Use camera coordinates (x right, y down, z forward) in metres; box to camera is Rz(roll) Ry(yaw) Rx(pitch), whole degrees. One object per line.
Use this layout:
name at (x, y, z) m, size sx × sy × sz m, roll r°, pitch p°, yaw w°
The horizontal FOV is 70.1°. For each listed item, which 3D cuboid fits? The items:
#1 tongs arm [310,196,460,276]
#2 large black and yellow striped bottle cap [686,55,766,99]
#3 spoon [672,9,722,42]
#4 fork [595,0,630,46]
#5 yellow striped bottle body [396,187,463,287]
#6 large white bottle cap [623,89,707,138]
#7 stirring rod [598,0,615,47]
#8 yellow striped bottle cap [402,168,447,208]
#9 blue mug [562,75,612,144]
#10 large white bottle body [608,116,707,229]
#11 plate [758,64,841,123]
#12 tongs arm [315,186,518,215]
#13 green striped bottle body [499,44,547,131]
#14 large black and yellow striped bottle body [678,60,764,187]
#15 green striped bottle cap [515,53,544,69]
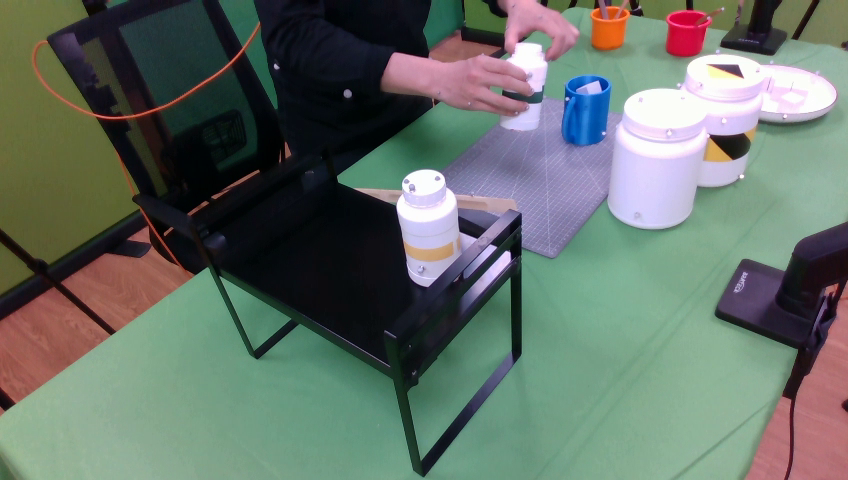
tongs arm at (-0.078, -0.012, 0.944) m, size 0.028 × 0.028 × 0.384 m, roll -43°, pitch 39°, yaw -23°
large black and yellow striped bottle cap at (0.474, -0.258, 0.952) m, size 0.115 × 0.019 × 0.114 m, roll -5°, pitch 41°, yaw 5°
spoon at (0.606, -0.476, 1.345) m, size 0.042 × 0.021 × 0.193 m, roll -6°, pitch -3°, yaw -2°
fork at (0.480, -0.556, 1.453) m, size 0.028 × 0.019 × 0.207 m, roll 41°, pitch 103°, yaw 40°
yellow striped bottle body at (0.006, -0.013, 0.638) m, size 0.063 × 0.121 × 0.062 m, roll -5°, pitch 41°, yaw 5°
large white bottle cap at (0.352, -0.187, 0.886) m, size 0.115 × 0.018 × 0.114 m, roll -4°, pitch 41°, yaw 4°
stirring rod at (0.437, -0.551, 1.462) m, size 0.014 × 0.006 × 0.175 m, roll -11°, pitch 83°, yaw 1°
yellow striped bottle cap at (0.000, -0.052, 0.605) m, size 0.044 × 0.019 × 0.044 m, roll -5°, pitch 43°, yaw 5°
blue mug at (0.298, -0.239, 1.143) m, size 0.117 × 0.106 × 0.081 m, roll -37°, pitch 48°, yaw -29°
large white bottle body at (0.361, -0.124, 0.942) m, size 0.130 × 0.185 × 0.130 m, roll -4°, pitch 41°, yaw 4°
plate at (0.694, -0.283, 1.189) m, size 0.207 × 0.039 × 0.206 m, roll -4°, pitch 40°, yaw 4°
tongs arm at (-0.028, -0.060, 0.988) m, size 0.382 × 0.027 × 0.051 m, roll 9°, pitch 45°, yaw 36°
green striped bottle body at (0.149, -0.229, 0.906) m, size 0.063 × 0.119 × 0.063 m, roll 2°, pitch 28°, yaw -1°
large black and yellow striped bottle body at (0.482, -0.196, 1.007) m, size 0.131 × 0.185 × 0.130 m, roll -4°, pitch 41°, yaw 4°
green striped bottle cap at (0.169, -0.285, 0.965) m, size 0.044 × 0.020 × 0.044 m, roll 3°, pitch 9°, yaw 0°
